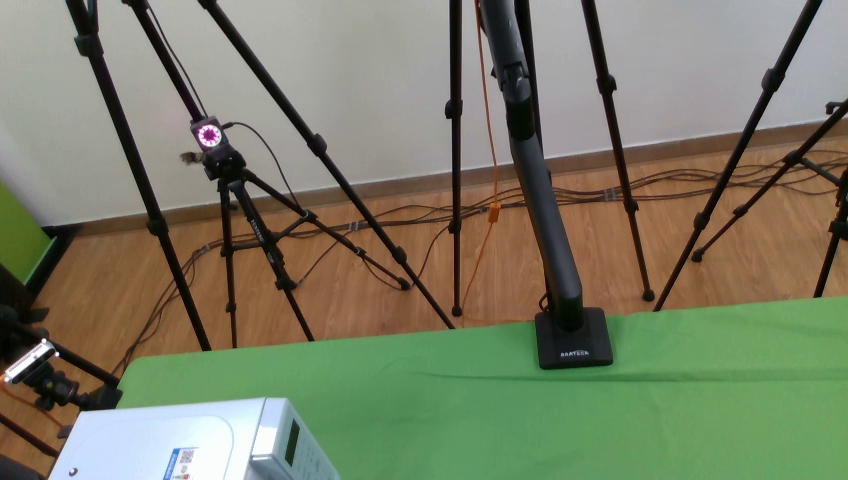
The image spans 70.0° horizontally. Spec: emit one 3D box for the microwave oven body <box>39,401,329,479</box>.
[{"bbox_3d":[-0.322,0.457,0.723,0.325,0.263,0.437,-7,44,9],"label":"microwave oven body"}]

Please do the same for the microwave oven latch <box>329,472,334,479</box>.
[{"bbox_3d":[-0.151,0.384,0.891,0.030,0.030,0.078,-6,44,9],"label":"microwave oven latch"}]
